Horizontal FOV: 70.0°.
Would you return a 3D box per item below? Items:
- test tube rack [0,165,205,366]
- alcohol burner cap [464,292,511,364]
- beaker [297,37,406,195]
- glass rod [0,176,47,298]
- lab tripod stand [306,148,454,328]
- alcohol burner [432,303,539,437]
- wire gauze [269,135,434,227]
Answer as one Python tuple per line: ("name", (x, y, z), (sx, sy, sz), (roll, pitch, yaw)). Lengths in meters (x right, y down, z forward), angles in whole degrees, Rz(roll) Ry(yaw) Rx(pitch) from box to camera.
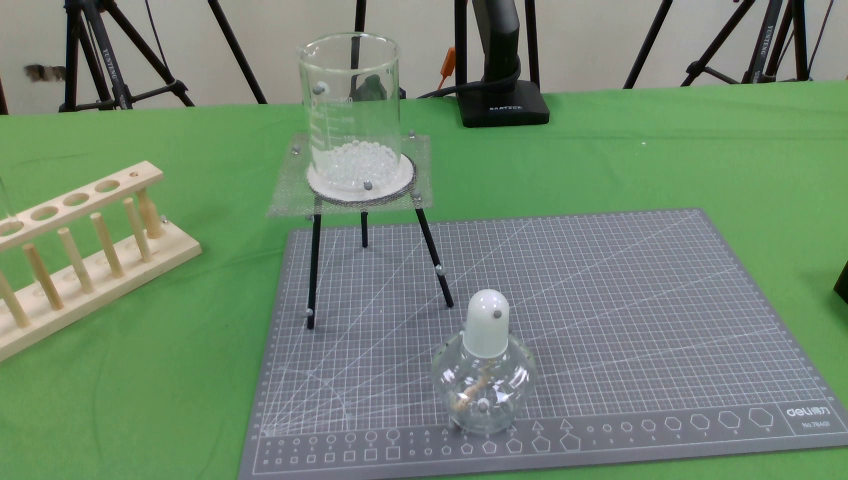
("test tube rack", (-0.332, 0.026, 0.546), (0.066, 0.086, 0.242), (29, 47, 33))
("alcohol burner cap", (0.044, 0.056, 0.408), (0.034, 0.048, 0.033), (1, 39, -1))
("beaker", (-0.055, -0.092, 0.458), (0.083, 0.101, 0.074), (22, 43, 25))
("glass rod", (-0.355, -0.033, 0.514), (0.008, 0.201, 0.008), (0, 30, 0))
("lab tripod stand", (-0.044, -0.002, 0.529), (0.148, 0.132, 0.147), (0, 37, 0))
("alcohol burner", (0.044, 0.085, 0.430), (0.078, 0.120, 0.077), (0, 40, 1))
("wire gauze", (-0.053, -0.053, 0.486), (0.121, 0.011, 0.124), (-1, 40, 0))
